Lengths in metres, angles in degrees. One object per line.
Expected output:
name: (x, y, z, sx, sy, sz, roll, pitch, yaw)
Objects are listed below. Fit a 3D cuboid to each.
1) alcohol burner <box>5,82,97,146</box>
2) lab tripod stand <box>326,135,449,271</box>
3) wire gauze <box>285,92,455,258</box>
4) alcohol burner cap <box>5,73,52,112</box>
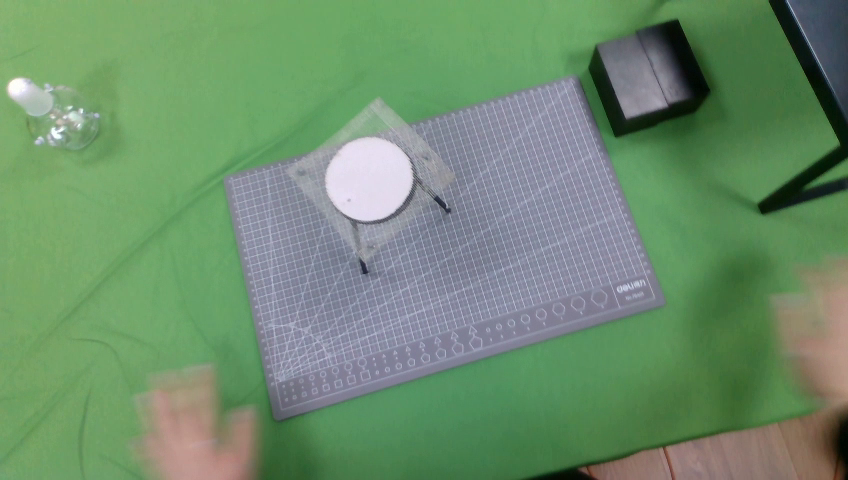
alcohol burner: (-0.444, -0.158, 0.715, 0.078, 0.119, 0.077, -1, 77, 3)
lab tripod stand: (-0.050, -0.047, 0.650, 0.148, 0.132, 0.147, -1, 76, 5)
wire gauze: (-0.053, -0.067, 0.585, 0.121, 0.011, 0.124, -41, 76, -6)
alcohol burner cap: (-0.447, -0.169, 0.680, 0.034, 0.048, 0.033, 1, 75, -3)
